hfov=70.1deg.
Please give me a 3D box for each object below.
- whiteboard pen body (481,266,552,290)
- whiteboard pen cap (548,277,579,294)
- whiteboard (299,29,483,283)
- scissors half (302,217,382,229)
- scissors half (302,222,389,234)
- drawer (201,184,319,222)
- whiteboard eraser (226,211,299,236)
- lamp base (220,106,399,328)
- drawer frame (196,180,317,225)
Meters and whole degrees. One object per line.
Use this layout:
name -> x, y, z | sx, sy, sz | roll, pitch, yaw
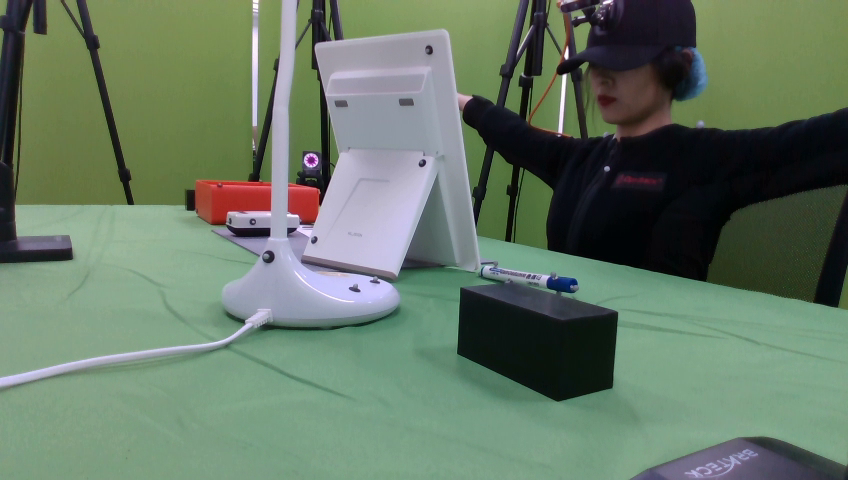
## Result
whiteboard pen body -> 0.115, 0.044, 0.695 | 0.017, 0.017, 0.140 | -3, 6, -35
whiteboard pen cap -> 0.148, 0.049, 0.647 | 0.018, 0.018, 0.033 | -3, 3, -36
whiteboard -> -0.074, -0.082, 0.742 | 0.216, 0.305, 0.144 | 9, 29, 38
scissors half -> -0.161, -0.031, 1.199 | 0.176, 0.013, 0.040 | -8, 23, -39
scissors half -> -0.152, -0.023, 1.182 | 0.176, 0.013, 0.040 | 1, 24, -21
drawer -> -0.353, -0.082, 1.296 | 0.213, 0.073, 0.193 | -2, 9, -28
whiteboard eraser -> -0.276, -0.029, 1.035 | 0.113, 0.042, 0.055 | -3, 7, -35
lamp base -> -0.101, -0.023, 0.531 | 0.160, 0.180, 0.179 | 4, 10, 10
drawer frame -> -0.359, -0.083, 1.292 | 0.215, 0.082, 0.200 | -2, 10, -30
